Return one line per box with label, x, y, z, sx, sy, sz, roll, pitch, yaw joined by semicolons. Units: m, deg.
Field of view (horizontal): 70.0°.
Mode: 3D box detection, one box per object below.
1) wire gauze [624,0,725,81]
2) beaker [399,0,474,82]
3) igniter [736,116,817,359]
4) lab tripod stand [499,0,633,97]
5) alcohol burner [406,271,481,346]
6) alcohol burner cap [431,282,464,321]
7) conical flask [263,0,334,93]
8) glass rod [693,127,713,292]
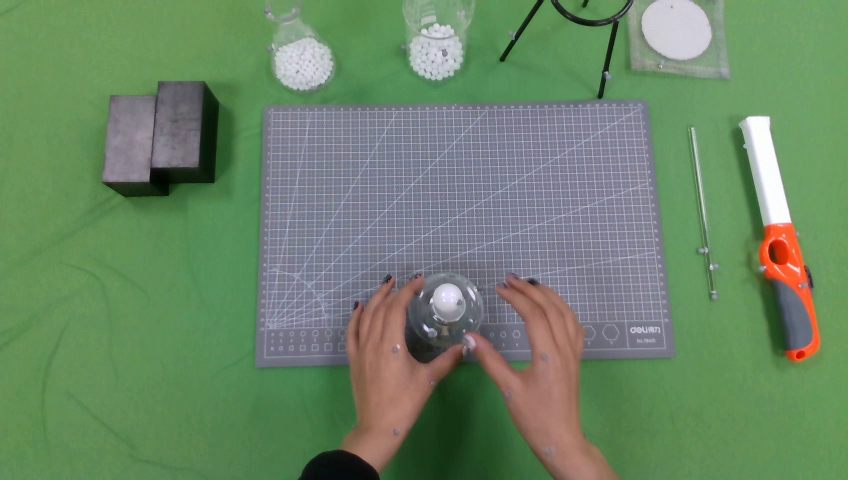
wire gauze;0.306;-0.256;0.740;0.125;0.011;0.121;4;78;-2
beaker;0.014;-0.232;0.681;0.084;0.100;0.073;-27;79;-8
igniter;0.392;-0.007;0.676;0.057;0.025;0.275;-2;78;-12
lab tripod stand;0.163;-0.239;0.668;0.148;0.132;0.147;0;79;0
alcohol burner;0.020;0.066;0.606;0.078;0.119;0.077;1;75;-2
alcohol burner cap;0.021;0.056;0.571;0.034;0.048;0.033;-1;71;4
conical flask;-0.143;-0.220;0.663;0.075;0.122;0.075;0;77;-1
glass rod;0.320;-0.038;0.694;0.008;0.008;0.198;2;76;-1
